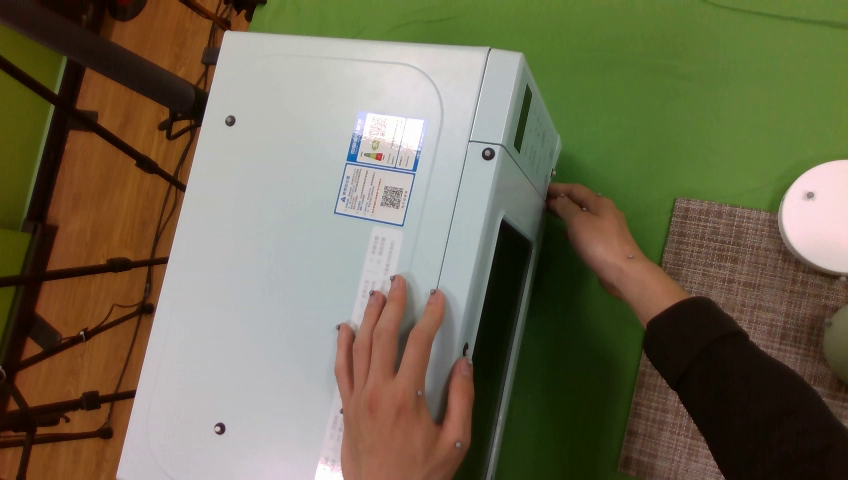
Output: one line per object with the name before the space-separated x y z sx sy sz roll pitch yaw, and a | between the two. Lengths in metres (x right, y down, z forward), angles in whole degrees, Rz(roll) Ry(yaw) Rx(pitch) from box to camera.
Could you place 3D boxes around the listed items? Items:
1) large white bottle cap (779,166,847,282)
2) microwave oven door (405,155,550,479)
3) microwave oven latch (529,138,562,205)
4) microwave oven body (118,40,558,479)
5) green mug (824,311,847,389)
large white bottle cap | 0.416 -0.016 0.596 0.114 0.018 0.114 -4 80 19
microwave oven door | 0.051 0.121 0.575 0.039 0.245 0.355 10 85 22
microwave oven latch | 0.132 -0.078 0.686 0.030 0.030 0.079 20 89 21
microwave oven body | -0.072 0.057 0.636 0.324 0.262 0.441 10 86 21
green mug | 0.410 0.116 0.530 0.092 0.105 0.125 10 85 22
